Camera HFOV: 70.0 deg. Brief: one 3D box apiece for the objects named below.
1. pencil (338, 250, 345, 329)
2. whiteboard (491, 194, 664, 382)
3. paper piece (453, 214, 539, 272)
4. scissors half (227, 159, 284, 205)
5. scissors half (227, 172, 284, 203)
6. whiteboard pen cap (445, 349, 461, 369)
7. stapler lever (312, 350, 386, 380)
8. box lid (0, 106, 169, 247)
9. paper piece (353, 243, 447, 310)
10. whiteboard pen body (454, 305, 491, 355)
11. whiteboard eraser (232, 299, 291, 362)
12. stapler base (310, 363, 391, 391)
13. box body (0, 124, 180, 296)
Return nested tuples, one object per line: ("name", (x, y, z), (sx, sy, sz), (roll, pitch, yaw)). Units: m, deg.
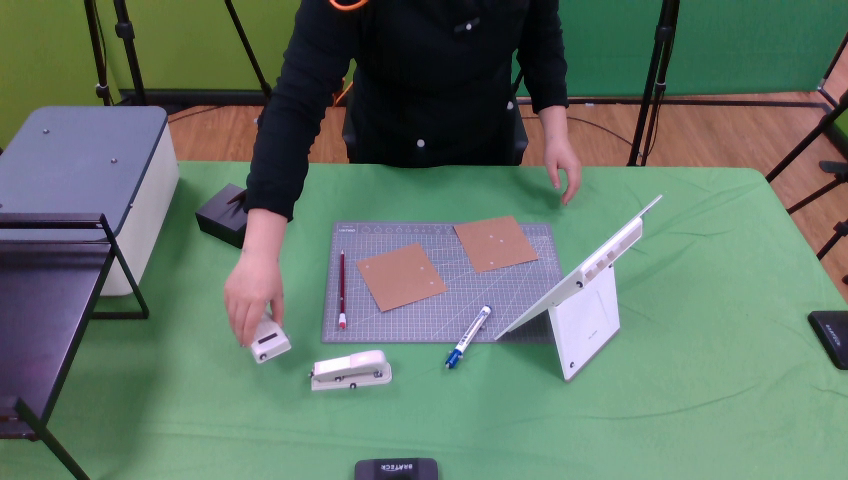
("pencil", (-0.152, 0.085, 1.107), (0.012, 0.012, 0.192), (-3, 44, -7))
("whiteboard", (0.280, 0.100, 0.969), (0.217, 0.306, 0.143), (-33, 77, -31))
("paper piece", (0.142, 0.003, 1.212), (0.135, 0.004, 0.135), (-11, 47, -14))
("scissors half", (-0.337, -0.117, 1.217), (0.013, 0.040, 0.175), (24, 45, 15))
("scissors half", (-0.339, -0.101, 1.229), (0.013, 0.040, 0.175), (19, 27, 18))
("whiteboard pen cap", (0.049, 0.197, 1.011), (0.018, 0.018, 0.033), (23, 49, 17))
("stapler lever", (-0.120, 0.198, 0.963), (0.118, 0.040, 0.026), (-4, 44, -8))
("box lid", (-0.624, -0.125, 1.067), (0.263, 0.015, 0.369), (0, 46, -4))
("paper piece", (-0.045, 0.066, 1.136), (0.136, 0.009, 0.137), (-13, 47, -23))
("whiteboard pen body", (0.079, 0.163, 1.047), (0.017, 0.017, 0.140), (26, 50, 19))
("whiteboard eraser", (-0.260, 0.146, 0.966), (0.055, 0.042, 0.112), (-22, 43, -27))
("stapler base", (-0.119, 0.215, 0.980), (0.131, 0.024, 0.041), (-5, 44, -7))
("box body", (-0.628, -0.075, 1.122), (0.254, 0.161, 0.361), (1, 46, -4))
